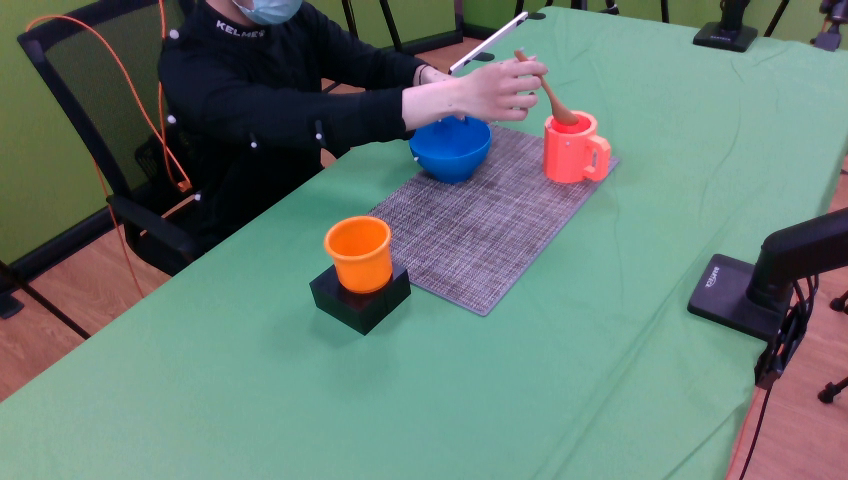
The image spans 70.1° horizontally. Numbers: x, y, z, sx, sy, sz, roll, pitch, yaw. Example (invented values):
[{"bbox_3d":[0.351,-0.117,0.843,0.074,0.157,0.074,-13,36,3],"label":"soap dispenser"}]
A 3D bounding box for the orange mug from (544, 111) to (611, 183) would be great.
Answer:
[{"bbox_3d":[0.266,-0.157,1.049,0.084,0.101,0.125,-33,42,-27],"label":"orange mug"}]

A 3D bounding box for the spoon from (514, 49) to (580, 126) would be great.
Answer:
[{"bbox_3d":[0.196,-0.241,0.969,0.041,0.195,0.021,10,66,47],"label":"spoon"}]

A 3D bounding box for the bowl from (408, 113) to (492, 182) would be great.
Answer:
[{"bbox_3d":[0.049,-0.158,1.097,0.151,0.077,0.150,-4,41,4],"label":"bowl"}]
